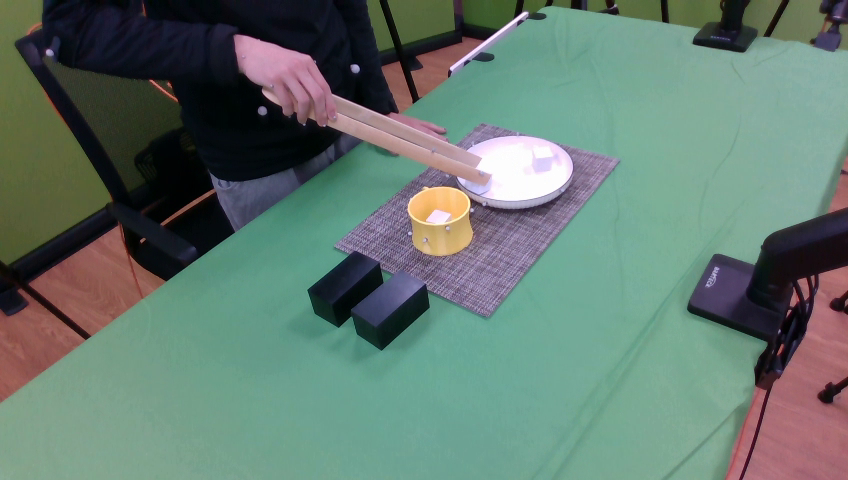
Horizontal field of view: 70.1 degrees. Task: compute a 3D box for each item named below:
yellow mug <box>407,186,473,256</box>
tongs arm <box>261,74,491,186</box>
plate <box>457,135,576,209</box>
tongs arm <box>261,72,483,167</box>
[{"bbox_3d":[0.021,-0.041,0.973,0.100,0.064,0.129,-18,41,-12],"label":"yellow mug"},{"bbox_3d":[-0.063,-0.165,0.946,0.388,0.026,0.050,17,33,-26],"label":"tongs arm"},{"bbox_3d":[0.161,-0.116,1.064,0.207,0.039,0.206,-4,40,4],"label":"plate"},{"bbox_3d":[-0.069,-0.188,0.976,0.391,0.027,0.028,17,36,-26],"label":"tongs arm"}]
